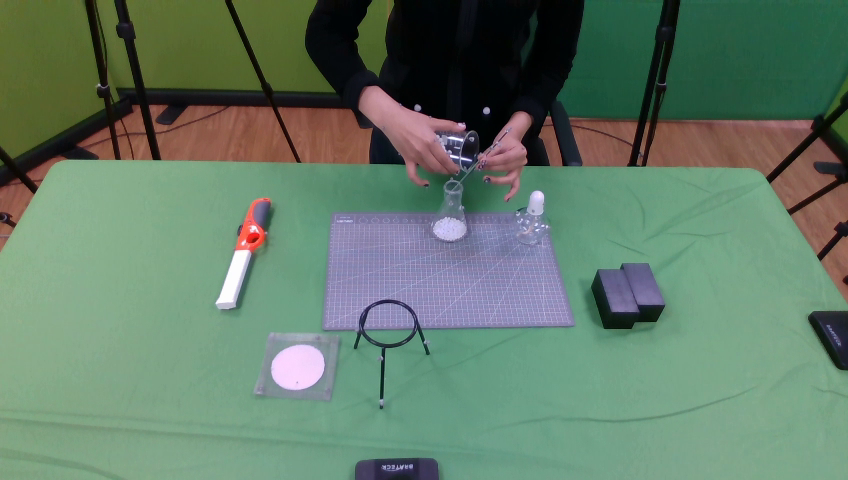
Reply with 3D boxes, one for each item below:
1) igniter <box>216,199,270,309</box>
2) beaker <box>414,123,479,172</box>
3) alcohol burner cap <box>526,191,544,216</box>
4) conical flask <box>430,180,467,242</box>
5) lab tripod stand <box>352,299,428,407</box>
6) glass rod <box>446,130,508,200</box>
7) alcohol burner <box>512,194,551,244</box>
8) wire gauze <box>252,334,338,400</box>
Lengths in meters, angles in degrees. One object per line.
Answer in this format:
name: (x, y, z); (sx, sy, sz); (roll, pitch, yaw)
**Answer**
igniter: (-0.341, 0.016, 1.153); (0.057, 0.025, 0.275); (-3, 45, 7)
beaker: (0.039, -0.169, 1.106); (0.100, 0.084, 0.074); (16, 43, 27)
alcohol burner cap: (0.216, -0.073, 1.170); (0.034, 0.048, 0.033); (0, 42, 0)
conical flask: (0.052, -0.060, 1.188); (0.075, 0.122, 0.075); (2, 46, -2)
lab tripod stand: (-0.056, 0.166, 0.958); (0.148, 0.132, 0.147); (3, 44, -2)
glass rod: (0.093, -0.133, 1.105); (0.008, 0.200, 0.008); (20, 46, -22)
alcohol burner: (0.215, -0.048, 1.196); (0.078, 0.119, 0.077); (4, 46, -4)
wire gauze: (-0.209, 0.204, 0.996); (0.125, 0.011, 0.120); (3, 45, 1)
